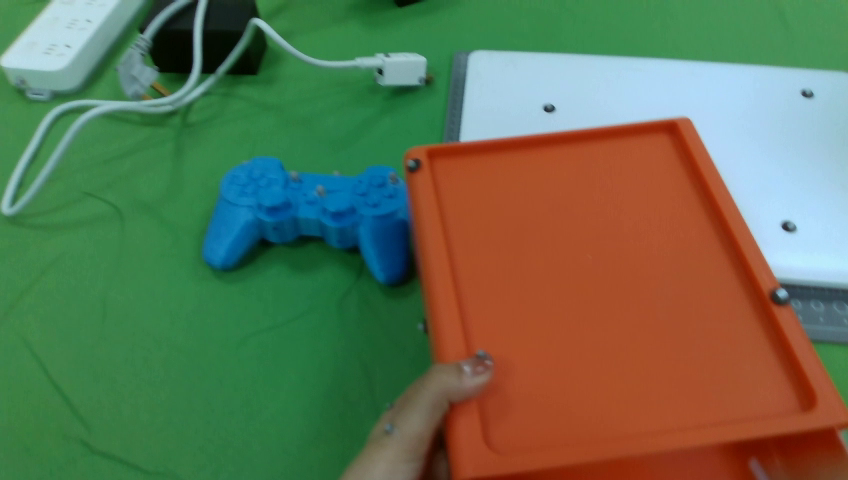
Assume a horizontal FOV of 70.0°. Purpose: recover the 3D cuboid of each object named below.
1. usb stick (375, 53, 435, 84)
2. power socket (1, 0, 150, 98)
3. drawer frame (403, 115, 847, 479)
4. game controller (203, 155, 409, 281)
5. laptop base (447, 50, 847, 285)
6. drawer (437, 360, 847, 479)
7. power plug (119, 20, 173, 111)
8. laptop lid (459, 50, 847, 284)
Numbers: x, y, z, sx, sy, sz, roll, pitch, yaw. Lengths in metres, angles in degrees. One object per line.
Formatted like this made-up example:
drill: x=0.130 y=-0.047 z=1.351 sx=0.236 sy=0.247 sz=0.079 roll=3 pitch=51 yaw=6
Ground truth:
usb stick: x=-0.016 y=-0.162 z=0.572 sx=0.059 sy=0.027 sz=0.021 roll=-8 pitch=29 yaw=-32
power socket: x=-0.347 y=-0.233 z=0.630 sx=0.072 sy=0.033 sz=0.225 roll=8 pitch=54 yaw=5
drawer frame: x=0.098 y=0.034 z=0.371 sx=0.202 sy=0.083 sz=0.211 roll=-8 pitch=55 yaw=-4
game controller: x=-0.085 y=-0.023 z=0.462 sx=0.155 sy=0.052 sz=0.096 roll=6 pitch=49 yaw=4
laptop base: x=0.204 y=-0.068 z=0.509 sx=0.354 sy=0.023 sz=0.233 roll=5 pitch=57 yaw=4
drawer: x=0.110 y=0.103 z=0.327 sx=0.195 sy=0.074 sz=0.209 roll=-6 pitch=54 yaw=-5
power plug: x=-0.244 y=-0.157 z=0.553 sx=0.072 sy=0.053 sz=0.035 roll=-48 pitch=31 yaw=2
laptop lid: x=0.204 y=-0.073 z=0.498 sx=0.356 sy=0.013 sz=0.239 roll=6 pitch=56 yaw=5
